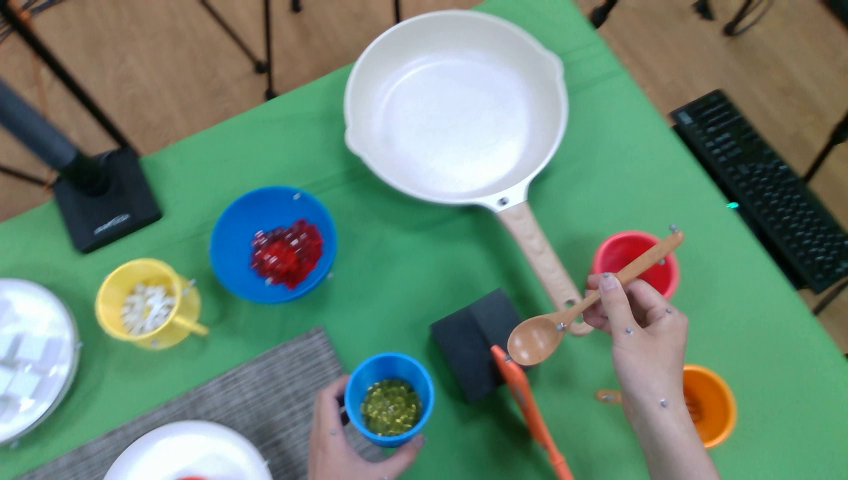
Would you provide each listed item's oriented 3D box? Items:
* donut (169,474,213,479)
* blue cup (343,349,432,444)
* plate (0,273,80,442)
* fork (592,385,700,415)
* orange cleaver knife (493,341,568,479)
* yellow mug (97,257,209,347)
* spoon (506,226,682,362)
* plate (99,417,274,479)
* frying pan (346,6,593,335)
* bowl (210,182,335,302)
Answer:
[{"bbox_3d":[-0.262,0.310,0.668,0.099,0.048,0.098,0,75,0],"label":"donut"},{"bbox_3d":[-0.036,0.168,0.621,0.093,0.101,0.092,1,62,-2],"label":"blue cup"},{"bbox_3d":[-0.522,0.144,0.741,0.208,0.039,0.206,0,72,1],"label":"plate"},{"bbox_3d":[0.249,0.174,0.666,0.209,0.018,0.028,18,67,-40],"label":"fork"},{"bbox_3d":[0.127,0.212,0.691,0.012,0.077,0.212,-26,103,-7],"label":"orange cleaver knife"},{"bbox_3d":[-0.323,0.083,0.745,0.130,0.064,0.099,24,74,7],"label":"yellow mug"},{"bbox_3d":[0.154,0.051,0.556,0.194,0.022,0.041,-41,76,23],"label":"spoon"},{"bbox_3d":[-0.267,0.307,0.681,0.209,0.038,0.208,0,72,0],"label":"plate"},{"bbox_3d":[0.083,-0.094,0.780,0.307,0.103,0.483,-22,65,-6],"label":"frying pan"},{"bbox_3d":[-0.181,0.011,0.762,0.151,0.077,0.150,0,72,0],"label":"bowl"}]
